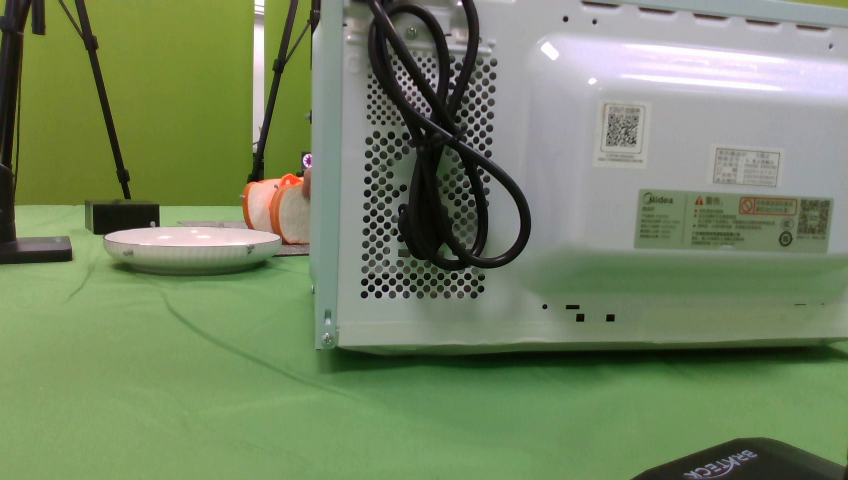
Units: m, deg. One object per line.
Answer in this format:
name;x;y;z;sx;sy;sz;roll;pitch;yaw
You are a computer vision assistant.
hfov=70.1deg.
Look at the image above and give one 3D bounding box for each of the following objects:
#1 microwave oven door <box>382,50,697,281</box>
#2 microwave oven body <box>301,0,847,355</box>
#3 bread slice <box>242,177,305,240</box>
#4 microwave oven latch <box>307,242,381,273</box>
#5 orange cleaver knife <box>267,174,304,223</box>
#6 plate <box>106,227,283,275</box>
microwave oven door;0.135;-0.077;0.685;0.357;0.243;0.039;1;8;-12
microwave oven body;0.120;-0.053;0.535;0.443;0.260;0.325;2;7;-11
bread slice;-0.235;-0.053;0.999;0.135;0.107;0.018;-3;-3;-44
microwave oven latch;-0.086;0.019;0.656;0.079;0.029;0.030;2;7;-10
orange cleaver knife;-0.172;-0.062;1.033;0.012;0.077;0.212;22;10;42
plate;-0.288;0.013;0.772;0.208;0.039;0.207;2;7;0
